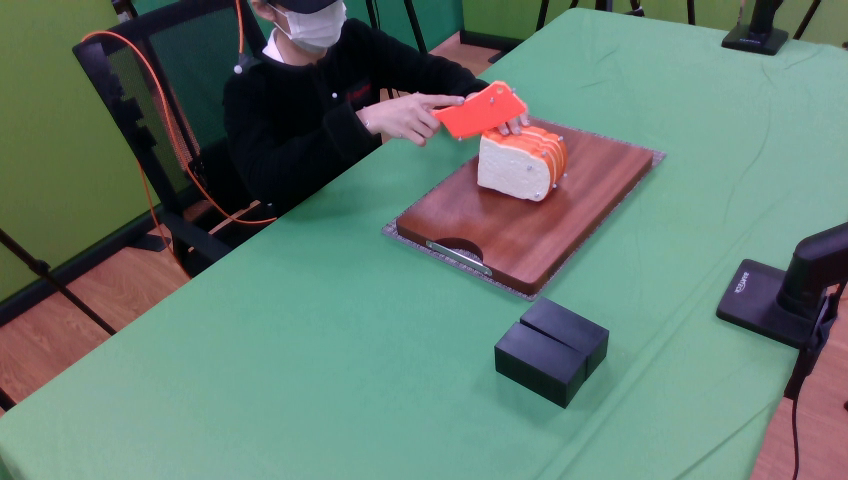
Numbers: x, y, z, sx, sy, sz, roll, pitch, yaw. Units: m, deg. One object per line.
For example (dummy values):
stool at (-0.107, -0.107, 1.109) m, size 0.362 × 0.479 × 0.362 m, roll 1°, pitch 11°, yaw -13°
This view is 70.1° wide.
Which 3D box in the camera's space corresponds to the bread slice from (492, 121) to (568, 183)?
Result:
bread slice at (0.173, -0.143, 1.012) m, size 0.133 × 0.107 × 0.018 m, roll 20°, pitch 50°, yaw 19°

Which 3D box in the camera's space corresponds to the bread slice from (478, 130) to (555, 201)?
bread slice at (0.148, -0.114, 0.978) m, size 0.131 × 0.105 × 0.019 m, roll 22°, pitch 48°, yaw 21°

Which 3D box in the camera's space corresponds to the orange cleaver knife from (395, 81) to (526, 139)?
orange cleaver knife at (0.054, -0.192, 0.955) m, size 0.210 × 0.078 × 0.012 m, roll -14°, pitch 43°, yaw 27°
